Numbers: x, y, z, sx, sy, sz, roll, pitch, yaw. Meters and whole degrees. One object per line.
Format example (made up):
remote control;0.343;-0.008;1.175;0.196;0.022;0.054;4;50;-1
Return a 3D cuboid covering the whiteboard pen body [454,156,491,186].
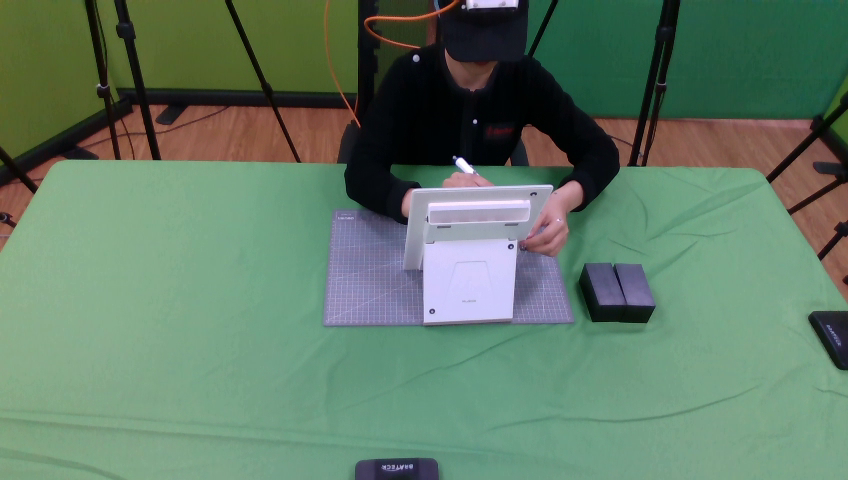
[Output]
whiteboard pen body;0.093;-0.097;1.003;0.017;0.017;0.140;-22;50;-23

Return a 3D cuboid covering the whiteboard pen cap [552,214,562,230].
whiteboard pen cap;0.275;-0.037;1.260;0.018;0.018;0.033;1;44;-2

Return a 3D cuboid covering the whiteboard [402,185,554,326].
whiteboard;0.081;0.044;1.005;0.217;0.306;0.143;-1;66;-6
